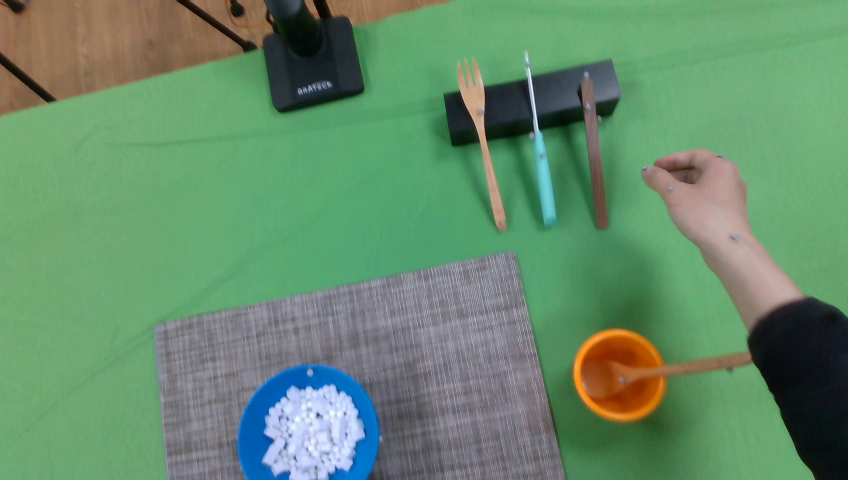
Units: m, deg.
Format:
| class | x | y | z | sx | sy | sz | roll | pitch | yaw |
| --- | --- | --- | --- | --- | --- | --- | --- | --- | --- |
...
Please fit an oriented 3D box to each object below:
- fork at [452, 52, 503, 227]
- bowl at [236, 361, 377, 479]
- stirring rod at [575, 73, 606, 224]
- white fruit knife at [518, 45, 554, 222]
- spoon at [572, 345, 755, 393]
| class | x | y | z | sx | sy | sz | roll | pitch | yaw |
| --- | --- | --- | --- | --- | --- | --- | --- | --- | --- |
| fork | 0.066 | -0.115 | 0.712 | 0.028 | 0.018 | 0.208 | -14 | 97 | 0 |
| bowl | -0.119 | 0.209 | 0.663 | 0.151 | 0.077 | 0.150 | -1 | 78 | 6 |
| stirring rod | 0.194 | -0.105 | 0.707 | 0.014 | 0.006 | 0.176 | -9 | 97 | 2 |
| white fruit knife | 0.127 | -0.123 | 0.706 | 0.016 | 0.027 | 0.207 | -10 | 94 | 1 |
| spoon | 0.234 | 0.128 | 0.613 | 0.022 | 0.193 | 0.041 | 2 | 73 | -39 |
